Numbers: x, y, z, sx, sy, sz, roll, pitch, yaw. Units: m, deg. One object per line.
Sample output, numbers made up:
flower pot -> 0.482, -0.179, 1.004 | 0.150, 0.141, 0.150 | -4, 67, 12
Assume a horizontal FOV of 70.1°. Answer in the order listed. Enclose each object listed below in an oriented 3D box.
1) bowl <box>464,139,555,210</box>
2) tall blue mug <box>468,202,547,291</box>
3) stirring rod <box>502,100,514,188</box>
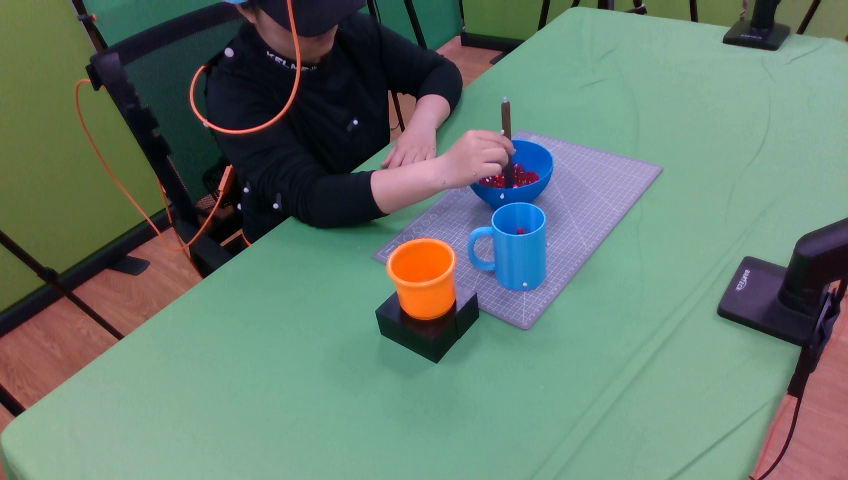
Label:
bowl -> 0.145, -0.100, 1.025 | 0.151, 0.077, 0.150 | -5, 40, 5
tall blue mug -> 0.125, 0.015, 0.869 | 0.107, 0.108, 0.077 | -21, 42, -14
stirring rod -> 0.133, -0.138, 0.954 | 0.014, 0.177, 0.005 | -19, 38, -15
